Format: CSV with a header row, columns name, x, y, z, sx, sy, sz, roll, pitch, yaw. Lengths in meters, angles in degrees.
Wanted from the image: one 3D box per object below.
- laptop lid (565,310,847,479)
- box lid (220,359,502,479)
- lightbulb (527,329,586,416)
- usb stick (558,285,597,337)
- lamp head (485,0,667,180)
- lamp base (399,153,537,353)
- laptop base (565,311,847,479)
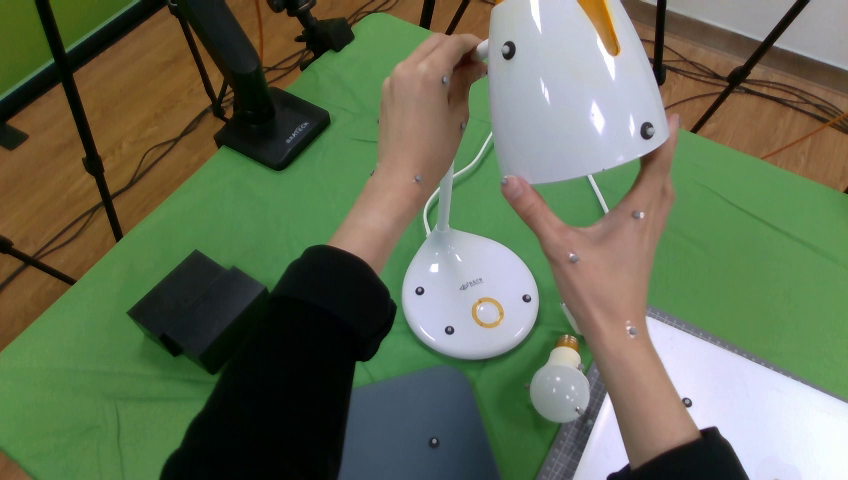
name,x,y,z,sx,sy,sz,roll,pitch,yaw
laptop lid,0.334,0.230,0.581,0.355,0.013,0.240,26,62,16
box lid,-0.038,0.300,0.552,0.264,0.015,0.367,-13,58,-9
lightbulb,0.143,0.135,0.640,0.059,0.060,0.107,15,42,10
usb stick,0.174,0.081,0.676,0.027,0.059,0.021,-38,22,-27
lamp head,0.085,-0.112,0.390,0.112,0.123,0.112,-20,14,5
lamp base,0.042,0.006,0.645,0.160,0.182,0.177,-32,59,-20
laptop base,0.336,0.235,0.592,0.352,0.023,0.234,24,63,15
